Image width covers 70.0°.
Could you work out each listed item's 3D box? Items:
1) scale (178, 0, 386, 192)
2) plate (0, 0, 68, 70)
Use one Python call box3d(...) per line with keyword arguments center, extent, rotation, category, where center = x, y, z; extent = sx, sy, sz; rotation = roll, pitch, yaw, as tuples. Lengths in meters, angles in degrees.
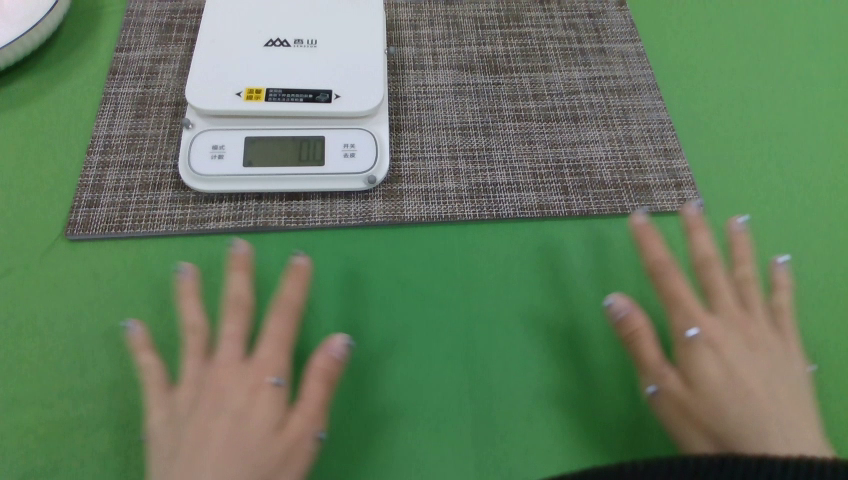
box3d(center=(-0.105, -0.125, 0.471), extent=(0.149, 0.032, 0.199), rotation=(-2, 59, -4), category="scale")
box3d(center=(-0.397, -0.191, 0.496), extent=(0.208, 0.039, 0.205), rotation=(2, 58, -2), category="plate")
